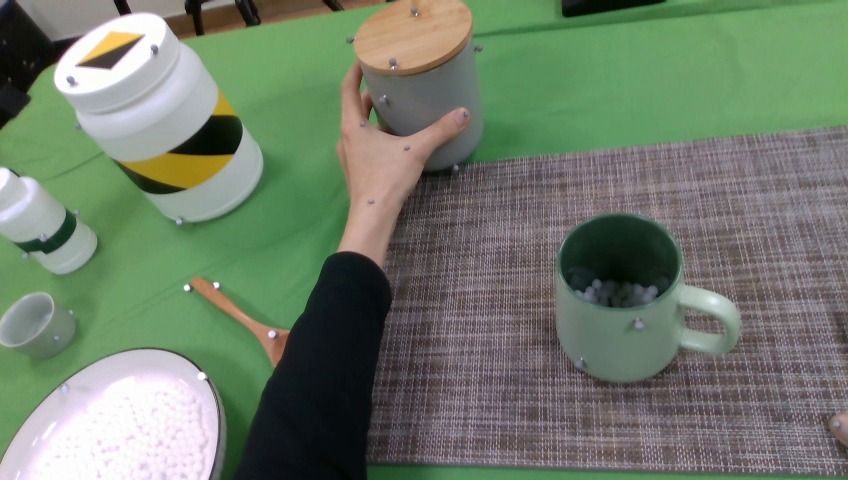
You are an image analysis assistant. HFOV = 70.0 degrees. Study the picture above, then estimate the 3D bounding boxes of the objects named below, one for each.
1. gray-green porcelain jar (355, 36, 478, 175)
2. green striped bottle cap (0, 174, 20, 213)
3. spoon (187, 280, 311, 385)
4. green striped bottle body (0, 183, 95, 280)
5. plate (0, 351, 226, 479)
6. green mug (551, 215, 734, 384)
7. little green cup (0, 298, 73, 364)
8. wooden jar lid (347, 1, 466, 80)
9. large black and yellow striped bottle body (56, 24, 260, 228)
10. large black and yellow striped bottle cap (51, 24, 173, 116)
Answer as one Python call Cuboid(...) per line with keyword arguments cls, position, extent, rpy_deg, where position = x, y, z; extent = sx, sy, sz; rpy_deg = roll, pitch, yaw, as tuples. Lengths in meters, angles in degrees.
Cuboid(cls="gray-green porcelain jar", position=(-0.003, -0.136, 0.591), extent=(0.106, 0.128, 0.105), rpy_deg=(-6, 50, 8))
Cuboid(cls="green striped bottle cap", position=(-0.430, -0.045, 0.605), extent=(0.044, 0.020, 0.044), rpy_deg=(-6, 54, 9))
Cuboid(cls="spoon", position=(-0.168, 0.077, 0.562), extent=(0.192, 0.022, 0.041), rpy_deg=(27, 85, 31))
Cuboid(cls="green striped bottle body", position=(-0.417, -0.014, 0.645), extent=(0.063, 0.120, 0.062), rpy_deg=(-9, 52, 12))
Cuboid(cls="plate", position=(-0.254, 0.192, 0.494), extent=(0.209, 0.038, 0.207), rpy_deg=(-8, 52, 11))
Cuboid(cls="green mug", position=(0.151, 0.048, 0.427), extent=(0.124, 0.106, 0.092), rpy_deg=(15, 60, 26))
Cuboid(cls="little green cup", position=(-0.389, 0.094, 0.609), extent=(0.061, 0.039, 0.061), rpy_deg=(-9, 51, 11))
Cuboid(cls="wooden jar lid", position=(-0.015, -0.175, 0.543), extent=(0.108, 0.021, 0.107), rpy_deg=(-8, 52, 11))
Cuboid(cls="large black and yellow striped bottle body", position=(-0.270, -0.114, 0.632), extent=(0.130, 0.186, 0.129), rpy_deg=(-8, 53, 11))
Cuboid(cls="large black and yellow striped bottle cap", position=(-0.292, -0.161, 0.566), extent=(0.115, 0.019, 0.114), rpy_deg=(-8, 51, 11))
